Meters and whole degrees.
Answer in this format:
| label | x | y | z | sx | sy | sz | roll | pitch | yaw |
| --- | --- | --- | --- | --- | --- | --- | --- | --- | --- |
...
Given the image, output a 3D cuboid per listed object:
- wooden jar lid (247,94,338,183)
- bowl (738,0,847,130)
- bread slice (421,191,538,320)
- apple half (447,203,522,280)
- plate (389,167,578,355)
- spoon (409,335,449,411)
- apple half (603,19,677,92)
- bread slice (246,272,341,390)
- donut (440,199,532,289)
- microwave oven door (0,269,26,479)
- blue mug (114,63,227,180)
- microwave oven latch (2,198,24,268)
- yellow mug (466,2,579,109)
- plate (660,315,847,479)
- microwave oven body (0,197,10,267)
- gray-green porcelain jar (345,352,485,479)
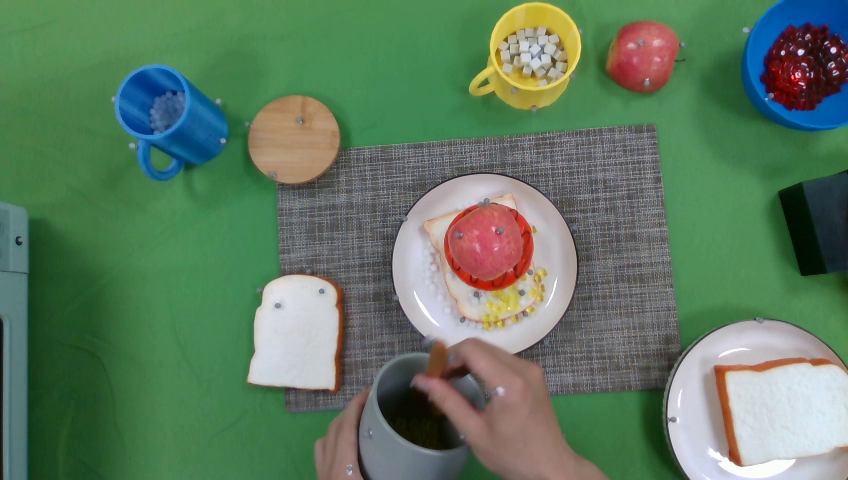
| label | x | y | z | sx | sy | sz | roll | pitch | yaw |
| --- | --- | --- | --- | --- | --- | --- | --- | --- | --- |
| wooden jar lid | -0.154 | -0.118 | 0.716 | 0.108 | 0.021 | 0.108 | -1 | 81 | 3 |
| bowl | 0.413 | -0.187 | 0.668 | 0.151 | 0.077 | 0.151 | 0 | 85 | 3 |
| bread slice | 0.070 | 0.022 | 0.682 | 0.107 | 0.018 | 0.134 | -21 | 83 | 2 |
| apple half | 0.063 | 0.000 | 0.619 | 0.081 | 0.033 | 0.081 | -1 | 82 | 10 |
| plate | 0.065 | 0.024 | 0.681 | 0.207 | 0.039 | 0.207 | 0 | 85 | 3 |
| spoon | 0.007 | 0.116 | 0.508 | 0.041 | 0.195 | 0.021 | 32 | 69 | 12 |
| apple half | 0.249 | -0.217 | 0.693 | 0.074 | 0.053 | 0.080 | 18 | 86 | 7 |
| bread slice | -0.148 | 0.102 | 0.694 | 0.105 | 0.019 | 0.131 | 3 | 85 | 2 |
| donut | 0.067 | 0.004 | 0.654 | 0.099 | 0.048 | 0.099 | 0 | 85 | 3 |
| microwave oven door | -0.475 | 0.199 | 0.572 | 0.039 | 0.244 | 0.354 | -4 | 83 | 3 |
| blue mug | -0.286 | -0.124 | 0.682 | 0.082 | 0.106 | 0.116 | 17 | 85 | 5 |
| microwave oven latch | -0.481 | -0.008 | 0.695 | 0.030 | 0.029 | 0.079 | 0 | 85 | 3 |
| yellow mug | 0.107 | -0.202 | 0.692 | 0.131 | 0.064 | 0.099 | -28 | 83 | 0 |
| plate | 0.357 | 0.185 | 0.653 | 0.209 | 0.038 | 0.208 | 0 | 84 | 3 |
| microwave oven body | -0.622 | 0.167 | 0.588 | 0.326 | 0.261 | 0.440 | -4 | 84 | 2 |
| gray-green porcelain jar | -0.013 | 0.185 | 0.563 | 0.105 | 0.105 | 0.127 | 26 | 127 | 6 |
